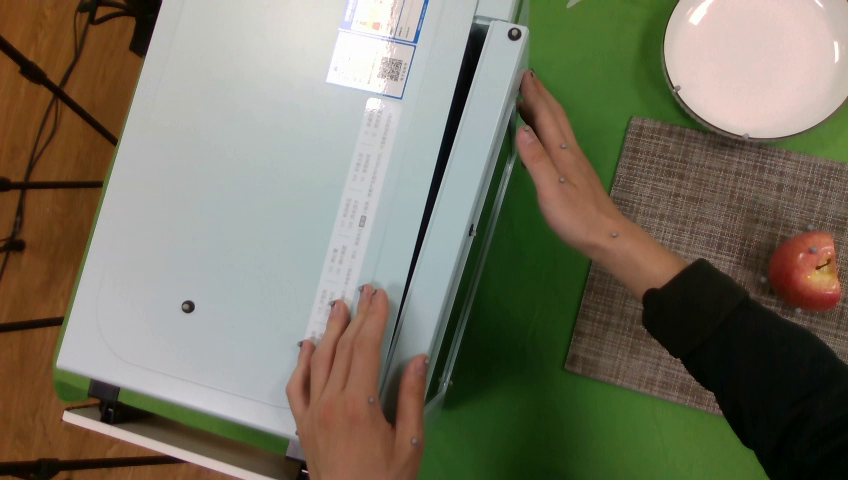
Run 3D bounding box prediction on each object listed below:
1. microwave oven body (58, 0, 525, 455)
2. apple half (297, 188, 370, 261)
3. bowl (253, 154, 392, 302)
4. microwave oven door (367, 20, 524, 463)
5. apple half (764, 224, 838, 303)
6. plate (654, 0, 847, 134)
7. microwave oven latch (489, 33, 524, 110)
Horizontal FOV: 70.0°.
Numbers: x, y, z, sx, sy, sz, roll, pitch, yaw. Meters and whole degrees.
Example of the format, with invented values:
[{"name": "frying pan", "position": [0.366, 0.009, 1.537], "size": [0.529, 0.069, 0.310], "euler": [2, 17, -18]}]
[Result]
[{"name": "microwave oven body", "position": [-0.106, -0.065, 0.611], "size": [0.325, 0.261, 0.441], "euler": [13, 87, 9]}, {"name": "apple half", "position": [-0.096, -0.013, 0.634], "size": [0.081, 0.032, 0.081], "euler": [0, 98, 3]}, {"name": "bowl", "position": [-0.095, -0.012, 0.644], "size": [0.151, 0.077, 0.151], "euler": [1, 92, 17]}, {"name": "microwave oven door", "position": [0.031, 0.010, 0.578], "size": [0.039, 0.245, 0.355], "euler": [16, 87, 10]}, {"name": "apple half", "position": [0.382, 0.026, 0.624], "size": [0.053, 0.075, 0.080], "euler": [-6, 87, 13]}, {"name": "plate", "position": [0.362, -0.216, 0.674], "size": [0.207, 0.039, 0.207], "euler": [-1, 84, 8]}, {"name": "microwave oven latch", "position": [0.094, -0.191, 0.692], "size": [0.030, 0.029, 0.079], "euler": [13, 87, 9]}]
